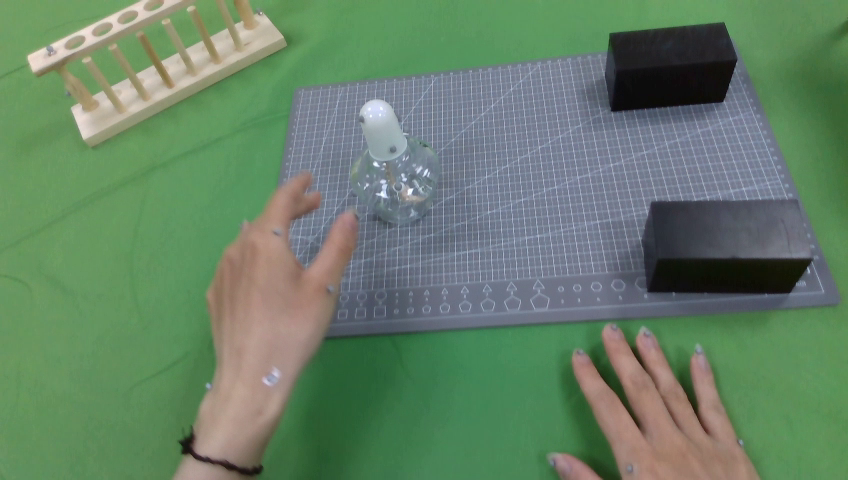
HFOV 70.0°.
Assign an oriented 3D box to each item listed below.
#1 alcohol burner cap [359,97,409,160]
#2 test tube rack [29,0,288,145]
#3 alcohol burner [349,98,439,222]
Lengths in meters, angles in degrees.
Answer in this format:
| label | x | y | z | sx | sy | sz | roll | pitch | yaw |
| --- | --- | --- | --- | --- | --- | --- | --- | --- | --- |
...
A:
| label | x | y | z | sx | sy | sz | roll | pitch | yaw |
| --- | --- | --- | --- | --- | --- | --- | --- | --- | --- |
| alcohol burner cap | -0.033 | -0.089 | 0.473 | 0.034 | 0.048 | 0.033 | -8 | 51 | 11 |
| test tube rack | -0.282 | -0.208 | 0.661 | 0.242 | 0.086 | 0.066 | -31 | 57 | -11 |
| alcohol burner | -0.028 | -0.069 | 0.503 | 0.078 | 0.120 | 0.077 | -5 | 54 | 7 |
